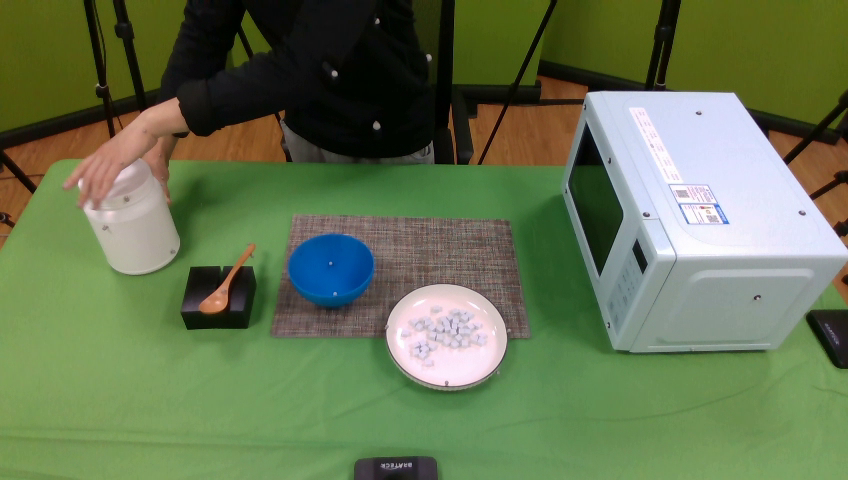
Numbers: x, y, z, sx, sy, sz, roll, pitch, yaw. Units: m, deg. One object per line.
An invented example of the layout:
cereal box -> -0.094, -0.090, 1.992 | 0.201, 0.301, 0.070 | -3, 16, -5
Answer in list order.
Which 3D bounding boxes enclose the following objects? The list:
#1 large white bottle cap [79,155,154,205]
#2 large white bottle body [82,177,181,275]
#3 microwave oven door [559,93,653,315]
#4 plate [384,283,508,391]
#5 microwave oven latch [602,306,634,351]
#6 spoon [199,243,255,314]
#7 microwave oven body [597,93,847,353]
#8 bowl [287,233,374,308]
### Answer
large white bottle cap -> -0.519, -0.103, 1.026 | 0.115, 0.018, 0.114 | 2, 46, -2
large white bottle body -> -0.524, -0.042, 1.087 | 0.131, 0.185, 0.130 | 2, 45, -2
microwave oven door -> 0.327, -0.074, 1.123 | 0.039, 0.245, 0.353 | -1, 46, -5
plate -> 0.036, 0.166, 1.028 | 0.209, 0.038, 0.208 | 2, 49, -2
microwave oven latch -> 0.332, 0.153, 1.044 | 0.030, 0.029, 0.078 | 0, 45, -4
spoon -> -0.333, 0.063, 1.051 | 0.041, 0.022, 0.193 | 5, 40, 9
microwave oven body -> 0.475, -0.041, 1.109 | 0.326, 0.261, 0.438 | -1, 45, -4
bowl -> -0.165, 0.068, 1.078 | 0.151, 0.077, 0.150 | 3, 46, -3
